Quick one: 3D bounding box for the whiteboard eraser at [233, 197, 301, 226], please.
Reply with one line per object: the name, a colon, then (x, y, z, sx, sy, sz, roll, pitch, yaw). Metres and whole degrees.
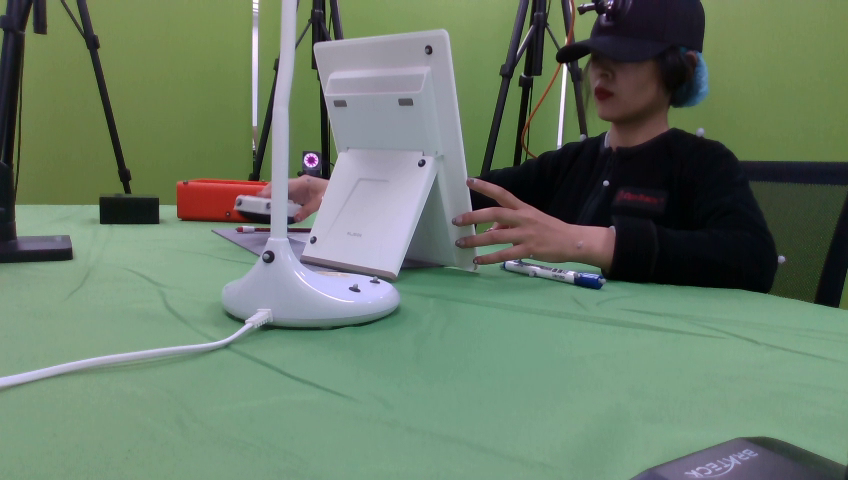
whiteboard eraser: (-0.251, -0.045, 0.974, 0.055, 0.042, 0.113, 13, 3, 21)

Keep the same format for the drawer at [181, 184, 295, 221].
drawer: (-0.394, -0.087, 1.317, 0.212, 0.073, 0.194, 1, 8, -7)

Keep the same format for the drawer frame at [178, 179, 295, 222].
drawer frame: (-0.397, -0.088, 1.315, 0.214, 0.082, 0.201, 1, 8, -7)

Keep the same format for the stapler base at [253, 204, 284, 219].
stapler base: (-0.336, -0.065, 1.308, 0.041, 0.024, 0.130, 2, 9, -2)

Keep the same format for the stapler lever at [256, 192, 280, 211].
stapler lever: (-0.337, -0.088, 1.305, 0.027, 0.040, 0.118, 1, 11, -2)

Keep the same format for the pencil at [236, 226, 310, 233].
pencil: (-0.239, -0.017, 1.093, 0.195, 0.012, 0.012, 1, 7, -27)

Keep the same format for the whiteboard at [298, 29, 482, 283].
whiteboard: (-0.075, -0.082, 0.741, 0.216, 0.305, 0.144, 9, 29, 37)

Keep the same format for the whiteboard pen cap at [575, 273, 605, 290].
whiteboard pen cap: (0.197, 0.048, 0.719, 0.018, 0.018, 0.033, -4, 11, -41)

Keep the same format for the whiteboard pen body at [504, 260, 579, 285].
whiteboard pen body: (0.157, 0.042, 0.763, 0.017, 0.017, 0.140, -4, 10, -41)

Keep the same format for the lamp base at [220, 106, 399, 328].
lamp base: (-0.101, -0.023, 0.531, 0.160, 0.180, 0.179, 4, 10, 10)
